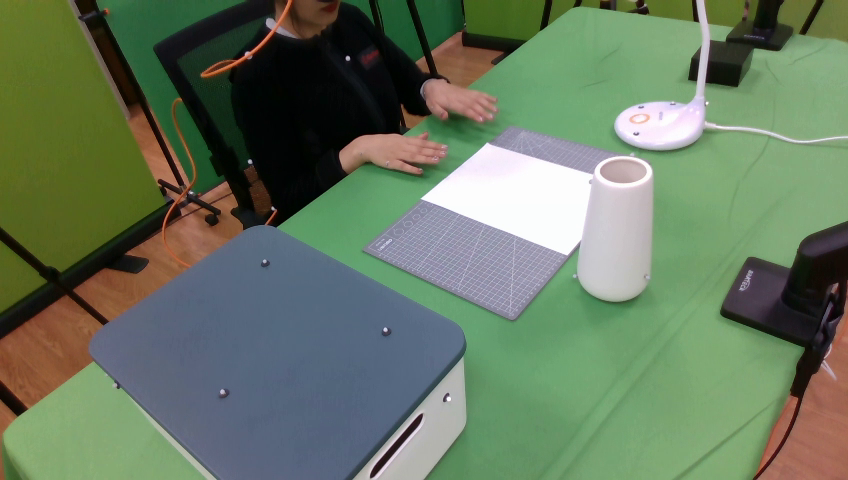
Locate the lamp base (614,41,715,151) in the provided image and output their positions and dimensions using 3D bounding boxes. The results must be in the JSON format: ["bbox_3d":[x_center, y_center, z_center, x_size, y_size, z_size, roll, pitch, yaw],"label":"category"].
[{"bbox_3d":[0.449,-0.277,1.106,0.179,0.181,0.160,1,41,9],"label":"lamp base"}]

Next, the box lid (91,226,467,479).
[{"bbox_3d":[-0.167,0.110,0.661,0.368,0.015,0.264,24,50,33],"label":"box lid"}]

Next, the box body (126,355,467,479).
[{"bbox_3d":[-0.155,0.169,0.707,0.361,0.161,0.255,23,49,33],"label":"box body"}]

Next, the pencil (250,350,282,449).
[{"bbox_3d":[-0.212,0.203,0.798,0.012,0.012,0.192,-22,35,-14],"label":"pencil"}]

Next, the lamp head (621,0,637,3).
[{"bbox_3d":[0.319,-0.453,0.962,0.113,0.123,0.112,20,33,-13],"label":"lamp head"}]

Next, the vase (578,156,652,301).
[{"bbox_3d":[0.261,-0.011,0.812,0.098,0.201,0.097,-4,40,4],"label":"vase"}]

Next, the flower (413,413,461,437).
[{"bbox_3d":[-0.120,0.202,0.774,0.359,0.038,0.044,2,78,24],"label":"flower"}]
